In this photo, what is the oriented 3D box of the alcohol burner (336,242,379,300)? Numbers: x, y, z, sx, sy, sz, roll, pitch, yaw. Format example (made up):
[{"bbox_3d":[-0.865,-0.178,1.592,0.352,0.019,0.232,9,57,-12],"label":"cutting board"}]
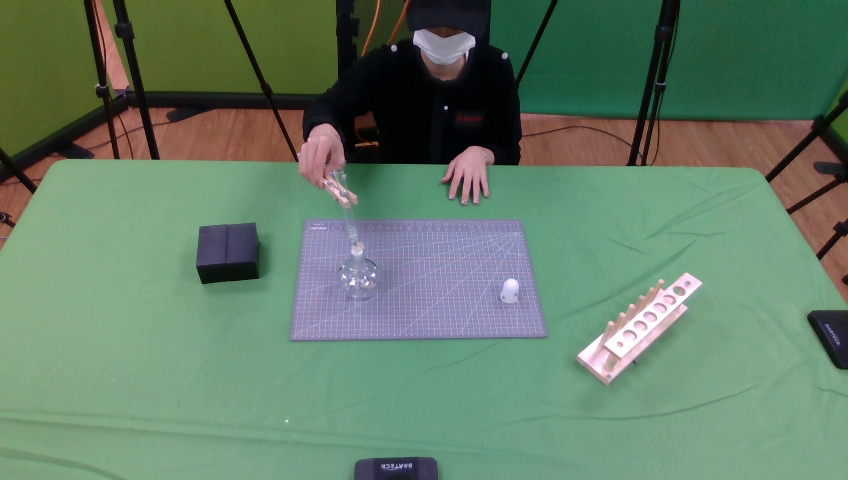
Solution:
[{"bbox_3d":[-0.118,0.050,1.072,0.078,0.120,0.077,2,44,-1],"label":"alcohol burner"}]

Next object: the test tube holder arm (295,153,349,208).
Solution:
[{"bbox_3d":[-0.171,-0.101,0.999,0.013,0.015,0.177,-27,46,-25],"label":"test tube holder arm"}]

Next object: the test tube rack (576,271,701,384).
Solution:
[{"bbox_3d":[0.373,0.138,1.047,0.242,0.085,0.066,-31,56,-29],"label":"test tube rack"}]

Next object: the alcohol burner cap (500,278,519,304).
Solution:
[{"bbox_3d":[0.157,0.090,1.104,0.034,0.048,0.033,2,46,-2],"label":"alcohol burner cap"}]

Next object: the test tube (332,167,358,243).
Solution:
[{"bbox_3d":[-0.125,-0.053,0.973,0.017,0.151,0.017,-4,42,4],"label":"test tube"}]

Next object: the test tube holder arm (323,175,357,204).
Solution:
[{"bbox_3d":[-0.139,-0.082,0.974,0.010,0.015,0.087,-34,49,-30],"label":"test tube holder arm"}]
